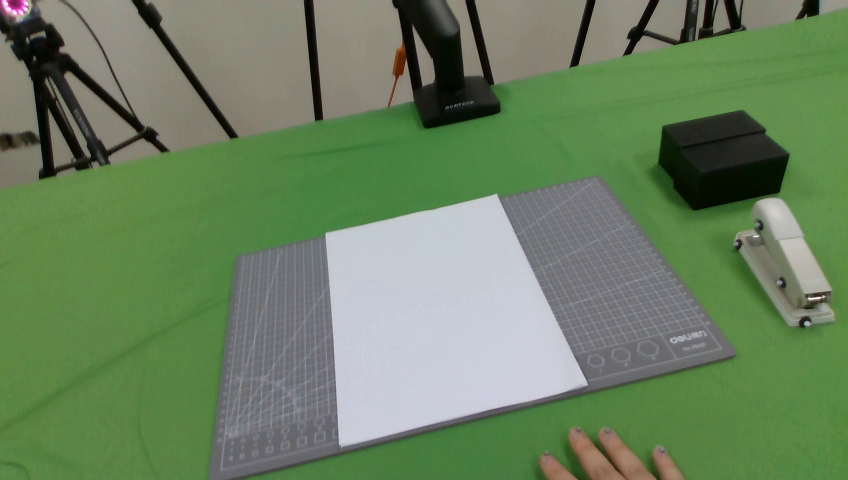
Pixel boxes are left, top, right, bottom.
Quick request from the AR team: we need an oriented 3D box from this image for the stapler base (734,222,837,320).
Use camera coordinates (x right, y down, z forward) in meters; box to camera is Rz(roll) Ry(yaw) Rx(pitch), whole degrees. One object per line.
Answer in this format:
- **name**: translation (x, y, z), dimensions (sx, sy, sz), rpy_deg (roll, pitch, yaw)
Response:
- **stapler base**: translation (0.337, 0.020, 0.570), dimensions (0.041, 0.025, 0.129), rpy_deg (-9, 41, 5)

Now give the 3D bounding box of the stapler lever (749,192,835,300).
- **stapler lever**: translation (0.334, 0.002, 0.552), dimensions (0.027, 0.040, 0.117), rpy_deg (-9, 41, 5)
